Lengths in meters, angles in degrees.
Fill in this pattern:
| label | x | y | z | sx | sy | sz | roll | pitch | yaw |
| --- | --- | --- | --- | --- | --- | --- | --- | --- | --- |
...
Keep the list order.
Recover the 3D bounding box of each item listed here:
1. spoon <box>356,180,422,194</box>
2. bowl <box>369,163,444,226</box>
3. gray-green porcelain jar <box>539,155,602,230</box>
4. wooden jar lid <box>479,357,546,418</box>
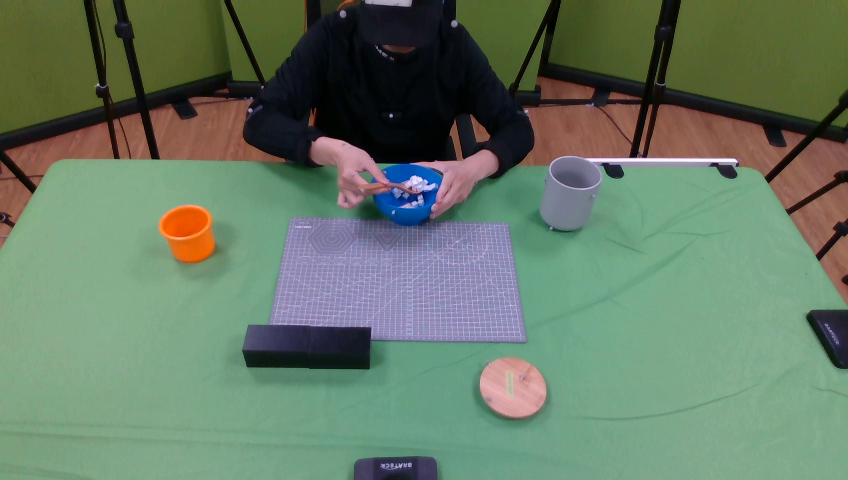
| label | x | y | z | sx | sy | sz | roll | pitch | yaw |
| --- | --- | --- | --- | --- | --- | --- | --- | --- | --- |
| spoon | -0.068 | -0.105 | 1.184 | 0.041 | 0.021 | 0.194 | 47 | 26 | 23 |
| bowl | -0.036 | -0.081 | 1.232 | 0.151 | 0.077 | 0.150 | 2 | 43 | -2 |
| gray-green porcelain jar | 0.294 | -0.091 | 1.235 | 0.106 | 0.127 | 0.105 | 2 | 46 | -2 |
| wooden jar lid | 0.142 | 0.240 | 0.979 | 0.108 | 0.021 | 0.107 | 1 | 46 | -1 |
